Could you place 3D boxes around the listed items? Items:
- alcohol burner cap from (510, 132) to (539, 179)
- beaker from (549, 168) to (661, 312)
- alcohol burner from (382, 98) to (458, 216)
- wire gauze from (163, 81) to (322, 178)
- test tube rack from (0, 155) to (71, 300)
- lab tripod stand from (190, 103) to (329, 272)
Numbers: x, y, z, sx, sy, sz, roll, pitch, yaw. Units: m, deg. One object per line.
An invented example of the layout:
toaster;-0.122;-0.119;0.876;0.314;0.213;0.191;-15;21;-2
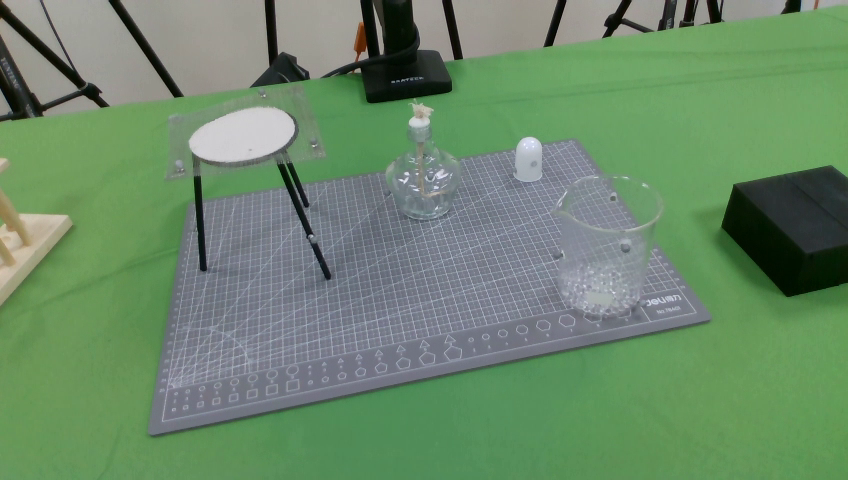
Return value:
alcohol burner cap;0.110;-0.094;0.655;0.034;0.048;0.033;-3;41;3
beaker;0.143;0.003;0.496;0.084;0.101;0.073;-3;41;4
alcohol burner;-0.005;-0.085;0.602;0.078;0.120;0.077;-3;39;3
wire gauze;-0.157;-0.094;0.510;0.125;0.011;0.120;-15;42;-9
test tube rack;-0.434;0.025;0.545;0.066;0.086;0.240;3;41;8
lab tripod stand;-0.151;-0.044;0.554;0.148;0.133;0.147;-3;43;3
